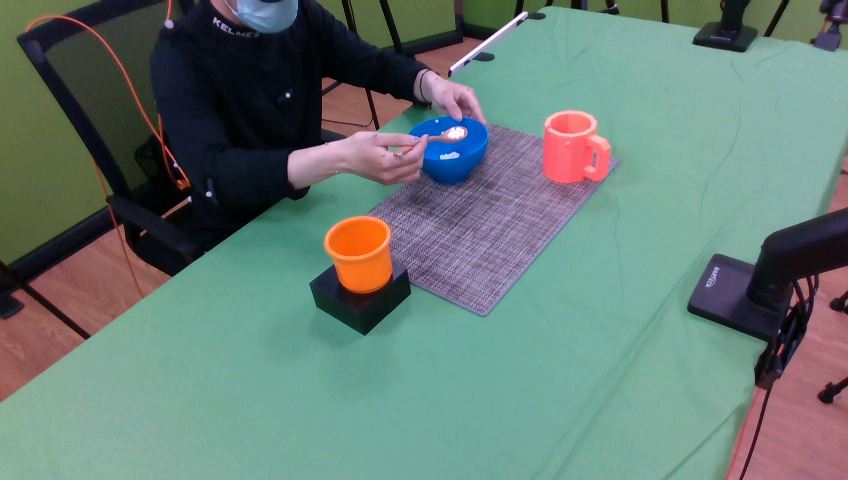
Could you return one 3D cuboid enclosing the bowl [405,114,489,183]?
[{"bbox_3d":[0.044,-0.155,1.095,0.151,0.077,0.150,-4,41,4],"label":"bowl"}]

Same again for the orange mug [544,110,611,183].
[{"bbox_3d":[0.266,-0.157,1.049,0.084,0.101,0.125,-33,42,-26],"label":"orange mug"}]

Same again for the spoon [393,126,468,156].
[{"bbox_3d":[0.010,-0.160,0.966,0.041,0.021,0.195,21,27,30],"label":"spoon"}]
